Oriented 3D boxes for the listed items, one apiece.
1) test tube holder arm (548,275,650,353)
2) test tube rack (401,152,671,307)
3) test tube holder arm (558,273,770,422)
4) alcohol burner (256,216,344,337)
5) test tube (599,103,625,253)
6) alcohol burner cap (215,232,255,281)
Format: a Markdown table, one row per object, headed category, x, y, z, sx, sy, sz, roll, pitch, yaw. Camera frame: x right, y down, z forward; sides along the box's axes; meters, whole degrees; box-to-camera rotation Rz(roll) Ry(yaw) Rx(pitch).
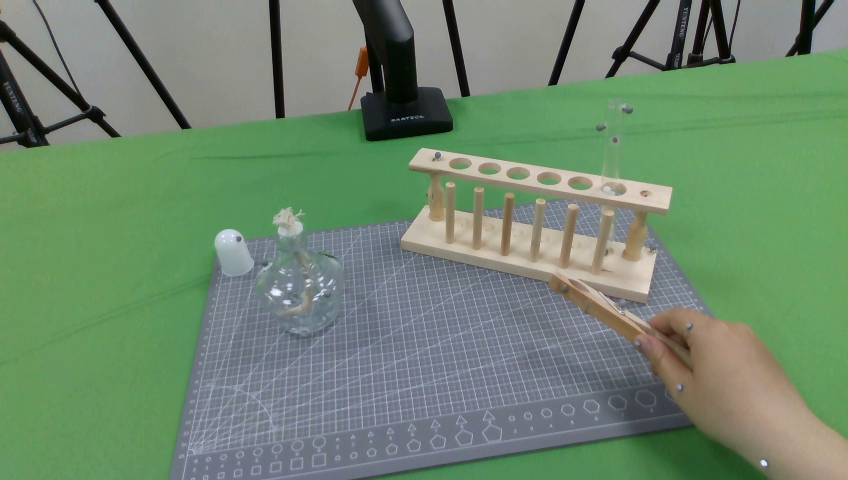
| category | x | y | z | sx | sy | sz | roll | pitch | yaw |
| --- | --- | --- | --- | --- | --- | --- | --- | --- | --- |
| test tube holder arm | 0.137 | 0.058 | 0.475 | 0.087 | 0.015 | 0.010 | 34 | 43 | 21 |
| test tube rack | 0.098 | -0.015 | 0.579 | 0.241 | 0.086 | 0.066 | 12 | 42 | 20 |
| test tube holder arm | 0.175 | 0.079 | 0.463 | 0.177 | 0.015 | 0.013 | 33 | 43 | 20 |
| alcohol burner | -0.109 | 0.027 | 0.523 | 0.078 | 0.120 | 0.077 | -1 | 40 | 1 |
| test tube | 0.165 | -0.050 | 0.538 | 0.017 | 0.151 | 0.017 | -6 | 36 | 5 |
| alcohol burner cap | -0.190 | 0.013 | 0.605 | 0.034 | 0.048 | 0.033 | -1 | 39 | 1 |
